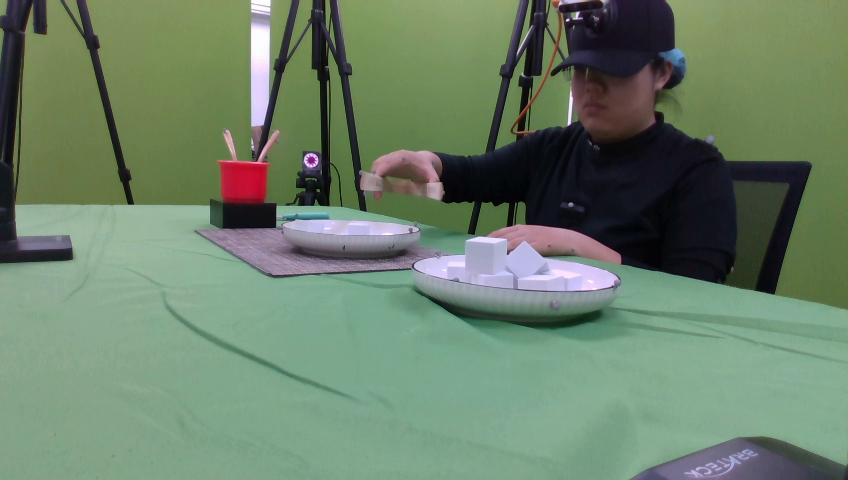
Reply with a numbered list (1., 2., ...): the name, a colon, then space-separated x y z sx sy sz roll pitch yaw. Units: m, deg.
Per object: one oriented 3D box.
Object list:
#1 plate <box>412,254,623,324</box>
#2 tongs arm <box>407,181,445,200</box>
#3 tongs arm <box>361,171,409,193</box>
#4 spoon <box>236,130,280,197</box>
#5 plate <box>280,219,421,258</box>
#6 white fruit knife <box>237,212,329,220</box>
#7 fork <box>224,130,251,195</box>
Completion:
1. plate: 0.090 0.047 0.609 0.209 0.038 0.209 2 7 0
2. tongs arm: 0.002 -0.083 0.977 0.028 0.028 0.387 1 5 -6
3. tongs arm: -0.056 -0.090 0.975 0.051 0.026 0.384 5 4 0
4. spoon: -0.321 -0.154 1.192 0.041 0.193 0.022 0 -37 19
5. plate: -0.108 -0.002 0.902 0.208 0.039 0.207 3 7 0
6. white fruit knife: -0.304 -0.050 1.328 0.208 0.016 0.027 -3 -19 -30
7. fork: -0.372 -0.155 1.193 0.028 0.018 0.206 -17 54 -13
